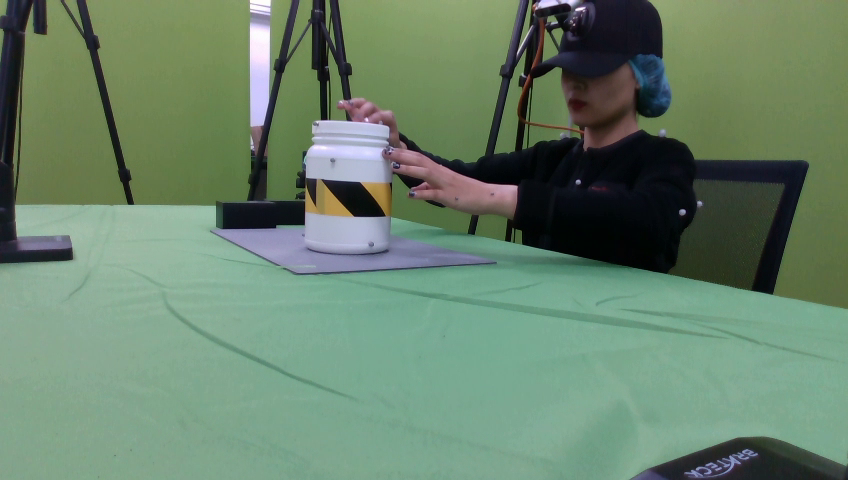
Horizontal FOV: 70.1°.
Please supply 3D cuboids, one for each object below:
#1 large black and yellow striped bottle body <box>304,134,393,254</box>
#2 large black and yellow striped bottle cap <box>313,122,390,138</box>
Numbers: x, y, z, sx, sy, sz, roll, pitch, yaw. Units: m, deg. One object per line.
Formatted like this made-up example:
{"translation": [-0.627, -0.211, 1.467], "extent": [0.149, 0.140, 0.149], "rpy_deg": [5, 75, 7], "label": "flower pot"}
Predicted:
{"translation": [-0.113, -0.077, 0.913], "extent": [0.131, 0.184, 0.130], "rpy_deg": [3, 7, 0], "label": "large black and yellow striped bottle body"}
{"translation": [-0.108, -0.163, 0.901], "extent": [0.115, 0.019, 0.115], "rpy_deg": [1, 7, 0], "label": "large black and yellow striped bottle cap"}
